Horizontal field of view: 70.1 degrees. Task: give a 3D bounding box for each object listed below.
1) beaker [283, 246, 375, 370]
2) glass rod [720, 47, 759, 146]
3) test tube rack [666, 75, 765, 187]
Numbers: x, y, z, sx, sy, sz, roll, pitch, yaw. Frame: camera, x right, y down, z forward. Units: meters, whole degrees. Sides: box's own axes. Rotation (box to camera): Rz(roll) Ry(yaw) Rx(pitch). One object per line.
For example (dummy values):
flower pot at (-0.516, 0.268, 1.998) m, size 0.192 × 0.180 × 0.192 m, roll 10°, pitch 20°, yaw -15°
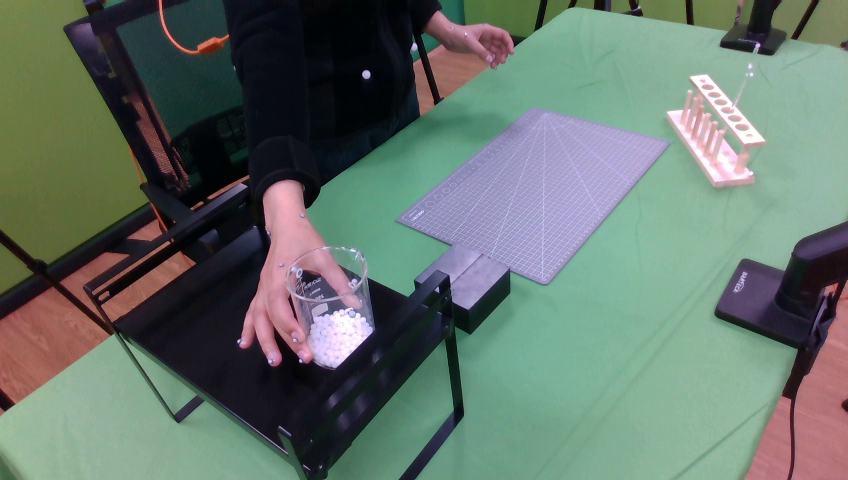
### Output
beaker at (-0.084, 0.066, 0.572) m, size 0.073 × 0.100 × 0.084 m, roll 23°, pitch 46°, yaw 29°
glass rod at (0.527, -0.234, 1.018) m, size 0.008 × 0.200 × 0.008 m, roll -2°, pitch 49°, yaw 3°
test tube rack at (0.512, -0.201, 1.082) m, size 0.067 × 0.085 × 0.241 m, roll -6°, pitch 41°, yaw 2°
